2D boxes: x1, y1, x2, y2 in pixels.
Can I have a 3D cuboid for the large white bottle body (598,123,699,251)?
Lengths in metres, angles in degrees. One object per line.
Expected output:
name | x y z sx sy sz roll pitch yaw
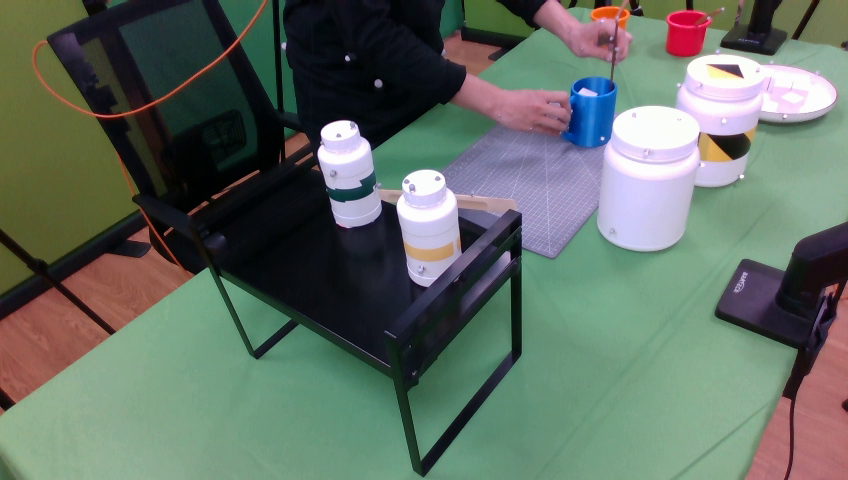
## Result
large white bottle body | 0.334 -0.090 0.906 0.130 0.185 0.130 -5 41 5

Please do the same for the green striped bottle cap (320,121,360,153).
green striped bottle cap | -0.097 -0.120 0.699 0.044 0.020 0.044 -4 40 3

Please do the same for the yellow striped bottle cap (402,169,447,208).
yellow striped bottle cap | 0.000 -0.052 0.605 0.044 0.019 0.044 -5 43 5

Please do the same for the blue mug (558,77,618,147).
blue mug | 0.303 -0.237 1.139 0.117 0.106 0.081 -21 42 -14

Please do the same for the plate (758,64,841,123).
plate | 0.695 -0.283 1.189 0.207 0.039 0.206 -4 40 4

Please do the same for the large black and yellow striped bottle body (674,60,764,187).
large black and yellow striped bottle body | 0.482 -0.196 1.008 0.131 0.185 0.130 -4 41 4

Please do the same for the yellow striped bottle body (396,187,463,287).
yellow striped bottle body | 0.006 -0.013 0.638 0.063 0.121 0.062 -5 41 4

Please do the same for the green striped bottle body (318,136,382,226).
green striped bottle body | -0.090 -0.081 0.733 0.063 0.120 0.063 -5 41 4

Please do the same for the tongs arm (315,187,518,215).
tongs arm | -0.028 -0.060 0.988 0.382 0.027 0.051 10 45 36

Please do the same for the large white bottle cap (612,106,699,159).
large white bottle cap | 0.325 -0.153 0.850 0.115 0.018 0.114 -4 42 4

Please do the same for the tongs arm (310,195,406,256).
tongs arm | -0.078 -0.013 0.944 0.028 0.028 0.384 -42 39 -23

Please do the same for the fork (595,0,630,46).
fork | 0.480 -0.556 1.453 0.028 0.019 0.207 41 104 42

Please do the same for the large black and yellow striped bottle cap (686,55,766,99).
large black and yellow striped bottle cap | 0.474 -0.258 0.952 0.115 0.019 0.114 -5 41 5

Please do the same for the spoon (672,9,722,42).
spoon | 0.606 -0.476 1.345 0.042 0.021 0.193 -6 -3 -2

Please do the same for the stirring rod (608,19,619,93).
stirring rod | 0.341 -0.310 1.092 0.006 0.177 0.014 2 38 10
